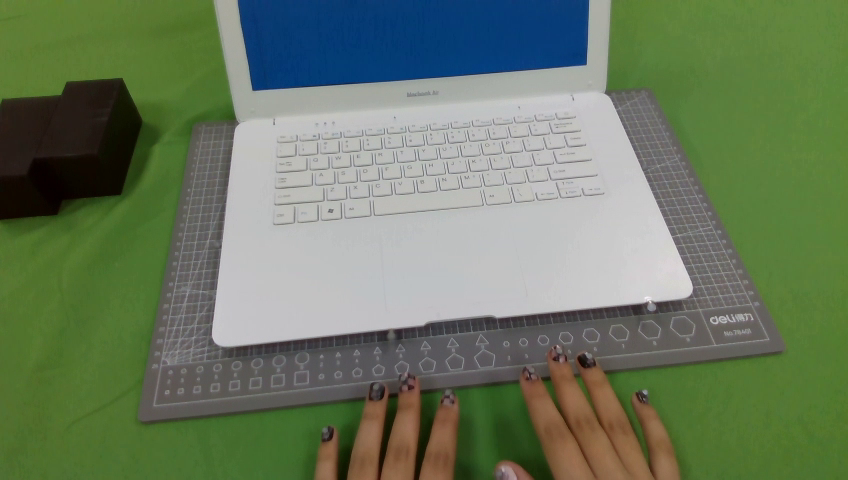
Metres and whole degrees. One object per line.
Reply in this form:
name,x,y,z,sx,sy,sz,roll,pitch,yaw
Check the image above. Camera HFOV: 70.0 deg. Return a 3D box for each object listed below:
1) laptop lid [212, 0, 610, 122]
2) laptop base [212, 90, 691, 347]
laptop lid,-0.008,-0.228,0.531,0.357,0.243,0.013,-7,24,-3
laptop base,0.012,-0.030,0.508,0.355,0.023,0.233,-6,55,-4
